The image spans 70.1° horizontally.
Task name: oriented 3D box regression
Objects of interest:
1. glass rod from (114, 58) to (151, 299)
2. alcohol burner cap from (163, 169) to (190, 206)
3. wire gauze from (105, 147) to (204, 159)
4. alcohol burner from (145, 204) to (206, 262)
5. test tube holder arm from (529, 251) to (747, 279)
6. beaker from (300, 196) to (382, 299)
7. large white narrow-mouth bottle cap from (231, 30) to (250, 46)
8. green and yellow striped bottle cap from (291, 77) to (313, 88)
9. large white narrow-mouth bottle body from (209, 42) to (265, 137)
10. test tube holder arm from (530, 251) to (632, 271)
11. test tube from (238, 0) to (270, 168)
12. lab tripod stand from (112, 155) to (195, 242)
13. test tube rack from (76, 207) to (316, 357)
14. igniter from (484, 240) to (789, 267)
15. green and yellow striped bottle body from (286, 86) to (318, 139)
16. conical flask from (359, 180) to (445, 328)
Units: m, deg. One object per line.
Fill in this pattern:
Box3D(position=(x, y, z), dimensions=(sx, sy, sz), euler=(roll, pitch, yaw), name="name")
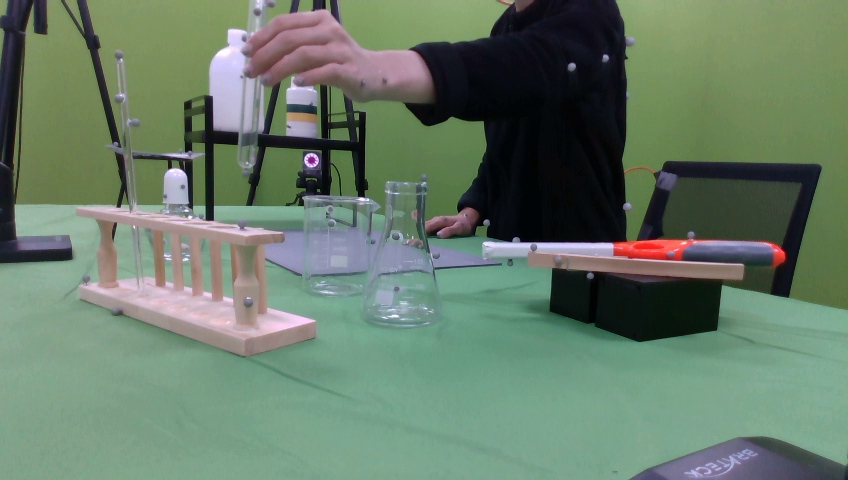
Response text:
Box3D(position=(-0.236, -0.044, 0.492), dimensions=(0.008, 0.199, 0.008), euler=(0, 15, 0), name="glass rod")
Box3D(position=(-0.321, -0.067, 0.782), dimensions=(0.034, 0.048, 0.034), euler=(1, 7, 0), name="alcohol burner cap")
Box3D(position=(-0.408, -0.131, 0.929), dimensions=(0.125, 0.011, 0.121), euler=(2, 6, -11), name="wire gauze")
Box3D(position=(-0.321, -0.032, 0.788), dimensions=(0.078, 0.119, 0.078), euler=(1, 7, 0), name="alcohol burner")
Box3D(position=(0.182, 0.022, 0.523), dimensions=(0.178, 0.015, 0.013), euler=(3, 7, 12), name="test tube holder arm")
Box3D(position=(-0.087, 0.006, 0.626), dimensions=(0.084, 0.100, 0.074), euler=(1, 8, -17), name="beaker")
Box3D(position=(-0.354, -0.389, 1.167), dimensions=(0.038, 0.024, 0.037), euler=(4, 5, 0), name="large white narrow-mouth bottle cap")
Box3D(position=(-0.250, -0.321, 1.237), dimensions=(0.045, 0.020, 0.045), euler=(3, 5, 0), name="green and yellow striped bottle cap")
Box3D(position=(-0.361, -0.303, 1.175), dimensions=(0.102, 0.194, 0.102), euler=(4, 6, 0), name="large white narrow-mouth bottle body")
Box3D(position=(0.139, 0.019, 0.538), dimensions=(0.087, 0.015, 0.010), euler=(3, 7, 14), name="test tube holder arm")
Box3D(position=(-0.144, -0.135, 0.509), dimensions=(0.017, 0.150, 0.017), euler=(4, -2, 0), name="test tube")
Box3D(position=(-0.405, -0.064, 0.931), dimensions=(0.148, 0.131, 0.148), euler=(1, 7, 0), name="lab tripod stand")
Box3D(position=(-0.196, 0.023, 0.500), dimensions=(0.241, 0.085, 0.067), euler=(7, 9, 36), name="test tube rack")
Box3D(position=(0.197, 0.012, 0.585), dimensions=(0.276, 0.025, 0.057), euler=(1, 5, 12), name="igniter")
Box3D(position=(-0.251, -0.270, 1.245), dimensions=(0.063, 0.119, 0.063), euler=(2, 7, 0), name="green and yellow striped bottle body")
Box3D(position=(-0.017, 0.010, 0.522), dimensions=(0.075, 0.122, 0.075), euler=(2, 8, 0), name="conical flask")
